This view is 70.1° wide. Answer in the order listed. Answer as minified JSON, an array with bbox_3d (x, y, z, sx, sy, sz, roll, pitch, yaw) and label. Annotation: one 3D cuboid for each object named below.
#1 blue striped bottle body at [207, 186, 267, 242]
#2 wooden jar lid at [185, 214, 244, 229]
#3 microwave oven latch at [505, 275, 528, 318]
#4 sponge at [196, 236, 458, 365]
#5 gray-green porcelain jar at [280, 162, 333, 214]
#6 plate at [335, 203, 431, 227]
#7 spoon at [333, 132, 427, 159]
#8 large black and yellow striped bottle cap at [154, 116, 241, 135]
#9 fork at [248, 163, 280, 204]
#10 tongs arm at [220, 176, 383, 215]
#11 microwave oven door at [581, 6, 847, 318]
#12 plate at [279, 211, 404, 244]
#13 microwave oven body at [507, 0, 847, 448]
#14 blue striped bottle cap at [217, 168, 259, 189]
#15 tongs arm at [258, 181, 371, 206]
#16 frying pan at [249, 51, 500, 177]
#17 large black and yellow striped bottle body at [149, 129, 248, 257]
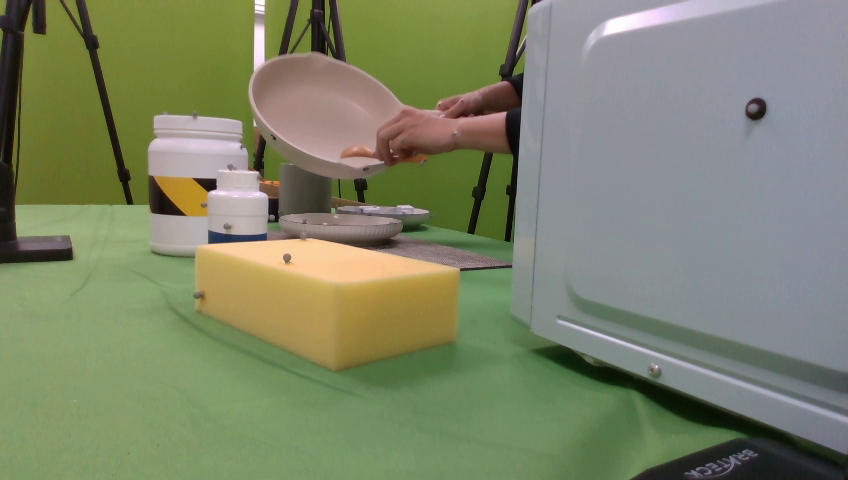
[{"bbox_3d":[-0.204,-0.016,0.663,0.063,0.120,0.063,2,7,0],"label":"blue striped bottle body"},{"bbox_3d":[-0.404,-0.037,1.169,0.108,0.020,0.108,3,7,0],"label":"wooden jar lid"},{"bbox_3d":[0.100,0.042,0.472,0.079,0.029,0.030,-2,8,-30],"label":"microwave oven latch"},{"bbox_3d":[-0.087,0.039,0.500,0.206,0.061,0.119,8,9,44],"label":"sponge"},{"bbox_3d":[-0.238,-0.092,1.221,0.106,0.126,0.106,2,8,0],"label":"gray-green porcelain jar"},{"bbox_3d":[-0.089,-0.053,1.309,0.208,0.039,0.207,2,8,0],"label":"plate"},{"bbox_3d":[-0.069,-0.143,0.926,0.193,0.021,0.042,20,42,34],"label":"spoon"},{"bbox_3d":[-0.314,-0.158,0.843,0.115,0.019,0.115,3,7,0],"label":"large black and yellow striped bottle cap"},{"bbox_3d":[-0.396,-0.143,1.486,0.028,0.018,0.208,20,-26,45],"label":"fork"},{"bbox_3d":[-0.285,-0.105,1.445,0.389,0.027,0.028,9,-3,-23],"label":"tongs arm"},{"bbox_3d":[0.295,-0.067,0.569,0.358,0.243,0.039,-3,8,-31],"label":"microwave oven door"},{"bbox_3d":[-0.139,-0.022,1.021,0.209,0.038,0.209,2,8,0],"label":"plate"},{"bbox_3d":[0.331,-0.042,0.425,0.444,0.260,0.324,-2,8,-31],"label":"microwave oven body"},{"bbox_3d":[-0.202,-0.067,0.656,0.044,0.020,0.044,0,10,0],"label":"blue striped bottle cap"},{"bbox_3d":[-0.241,-0.095,1.374,0.387,0.026,0.050,9,0,-37],"label":"tongs arm"},{"bbox_3d":[-0.073,-0.230,1.125,0.490,0.305,0.102,-6,-35,-22],"label":"frying pan"},{"bbox_3d":[-0.315,-0.075,0.854,0.131,0.184,0.130,1,7,0],"label":"large black and yellow striped bottle body"}]
